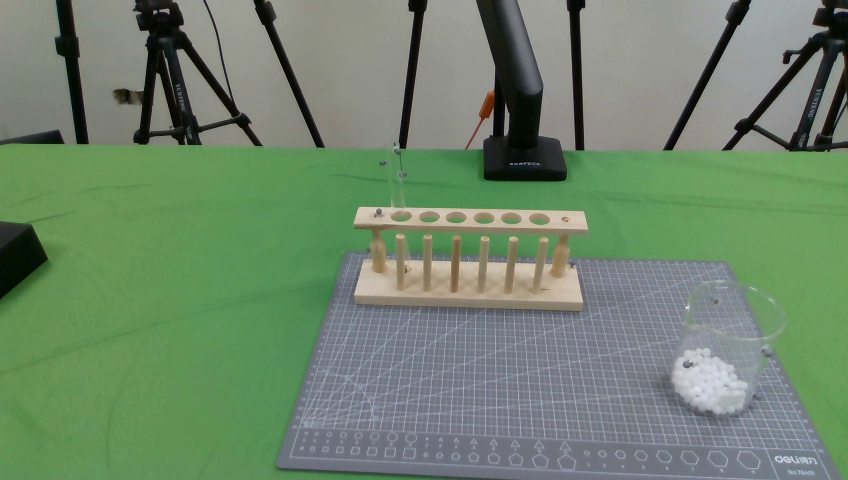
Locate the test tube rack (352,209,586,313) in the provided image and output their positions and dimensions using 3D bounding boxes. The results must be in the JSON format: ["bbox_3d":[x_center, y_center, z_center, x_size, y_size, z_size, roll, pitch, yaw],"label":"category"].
[{"bbox_3d":[0.046,0.022,0.648,0.242,0.086,0.066,1,35,4],"label":"test tube rack"}]

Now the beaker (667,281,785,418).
[{"bbox_3d":[0.251,0.097,0.521,0.084,0.101,0.073,-10,36,-10],"label":"beaker"}]

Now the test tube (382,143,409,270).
[{"bbox_3d":[-0.029,-0.031,0.639,0.017,0.151,0.017,-3,33,2],"label":"test tube"}]
